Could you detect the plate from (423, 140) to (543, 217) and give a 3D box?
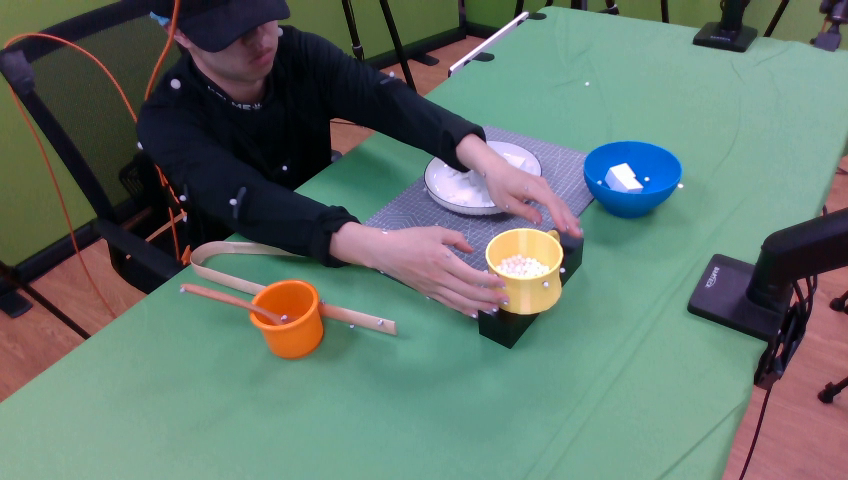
[{"bbox_3d":[0.103,-0.104,1.059,0.207,0.039,0.206,-3,41,3],"label":"plate"}]

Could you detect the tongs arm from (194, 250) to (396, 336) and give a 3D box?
[{"bbox_3d":[-0.203,0.074,0.904,0.382,0.026,0.051,11,45,23],"label":"tongs arm"}]

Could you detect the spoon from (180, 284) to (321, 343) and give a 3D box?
[{"bbox_3d":[-0.223,0.094,0.794,0.021,0.195,0.041,-46,32,25],"label":"spoon"}]

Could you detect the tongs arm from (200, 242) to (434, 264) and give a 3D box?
[{"bbox_3d":[-0.174,0.023,0.961,0.386,0.028,0.028,2,45,13],"label":"tongs arm"}]

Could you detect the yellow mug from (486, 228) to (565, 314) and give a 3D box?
[{"bbox_3d":[0.143,0.031,0.800,0.099,0.064,0.131,28,50,34],"label":"yellow mug"}]

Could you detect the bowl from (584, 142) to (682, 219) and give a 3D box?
[{"bbox_3d":[0.333,-0.087,0.980,0.151,0.077,0.150,-4,40,3],"label":"bowl"}]
